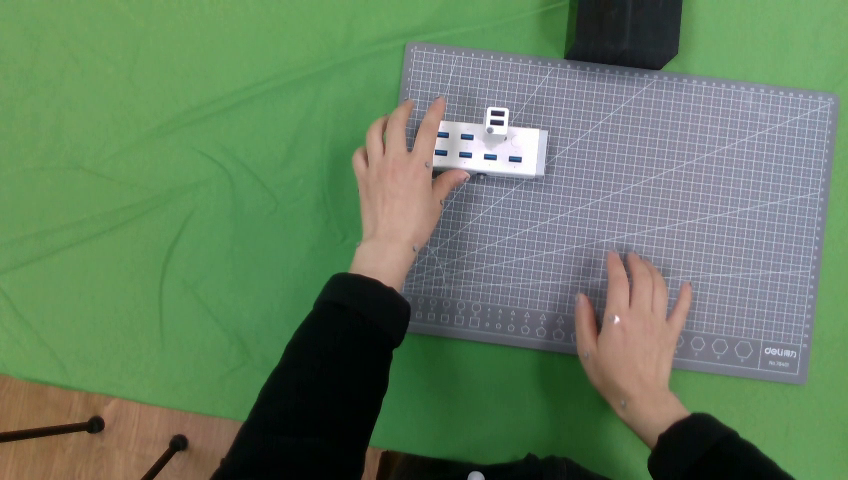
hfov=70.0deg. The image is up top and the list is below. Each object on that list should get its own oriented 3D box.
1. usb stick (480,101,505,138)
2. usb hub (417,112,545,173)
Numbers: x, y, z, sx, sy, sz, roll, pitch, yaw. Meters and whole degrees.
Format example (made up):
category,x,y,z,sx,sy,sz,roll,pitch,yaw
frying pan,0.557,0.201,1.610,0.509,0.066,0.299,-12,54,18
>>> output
category,x,y,z,sx,sy,sz,roll,pitch,yaw
usb stick,0.065,-0.114,0.584,0.021,0.059,0.027,3,85,3
usb hub,0.057,-0.099,0.616,0.125,0.025,0.049,6,90,0
